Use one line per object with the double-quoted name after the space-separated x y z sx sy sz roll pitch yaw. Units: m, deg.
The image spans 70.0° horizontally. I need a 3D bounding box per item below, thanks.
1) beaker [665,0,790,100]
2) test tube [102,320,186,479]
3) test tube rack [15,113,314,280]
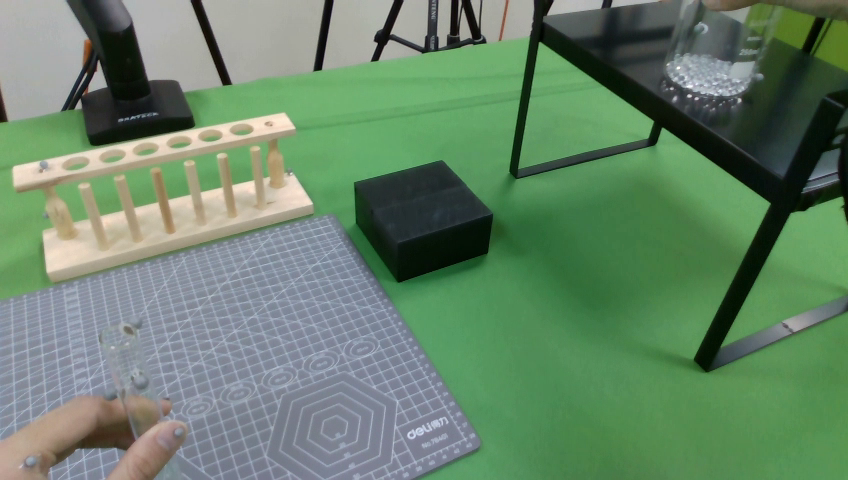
0.231 -0.165 0.464 0.084 0.101 0.073 -17 45 -21 "beaker"
-0.134 0.100 0.302 0.017 0.151 0.017 2 35 -1 "test tube"
-0.234 -0.047 0.577 0.243 0.086 0.066 -17 45 -23 "test tube rack"
